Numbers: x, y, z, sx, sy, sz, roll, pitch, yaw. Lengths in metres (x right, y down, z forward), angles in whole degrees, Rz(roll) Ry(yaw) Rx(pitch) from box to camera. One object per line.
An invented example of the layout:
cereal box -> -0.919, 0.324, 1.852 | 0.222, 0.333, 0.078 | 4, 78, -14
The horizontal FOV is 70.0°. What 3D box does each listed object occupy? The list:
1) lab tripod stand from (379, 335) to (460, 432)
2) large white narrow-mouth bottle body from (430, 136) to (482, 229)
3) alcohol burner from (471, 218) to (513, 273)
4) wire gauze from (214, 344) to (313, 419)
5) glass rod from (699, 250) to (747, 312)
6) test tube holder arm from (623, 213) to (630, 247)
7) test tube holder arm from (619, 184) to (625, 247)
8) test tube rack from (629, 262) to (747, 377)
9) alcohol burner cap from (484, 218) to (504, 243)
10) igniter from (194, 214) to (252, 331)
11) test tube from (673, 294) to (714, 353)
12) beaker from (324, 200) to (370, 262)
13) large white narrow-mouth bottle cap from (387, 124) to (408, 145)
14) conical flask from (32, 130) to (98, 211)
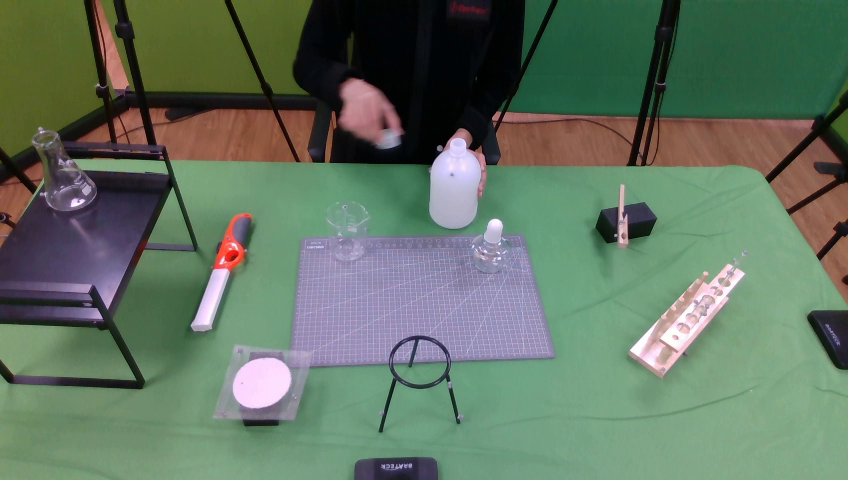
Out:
lab tripod stand -> -0.011, 0.214, 0.911 | 0.148, 0.132, 0.147 | 1, 45, 0
large white narrow-mouth bottle body -> 0.063, -0.119, 1.193 | 0.102, 0.195, 0.101 | 1, 48, -1
alcohol burner -> 0.128, 0.005, 1.132 | 0.078, 0.120, 0.077 | 0, 47, 0
wire gauze -> -0.241, 0.213, 0.916 | 0.121, 0.011, 0.124 | 5, 46, 1
glass rod -> 0.500, 0.075, 1.021 | 0.008, 0.201, 0.008 | 0, 55, 1
test tube holder arm -> 0.393, -0.020, 1.179 | 0.010, 0.015, 0.087 | 13, 46, 2
test tube holder arm -> 0.396, -0.053, 1.210 | 0.013, 0.015, 0.177 | 14, 46, 2
test tube rack -> 0.464, 0.126, 1.060 | 0.242, 0.085, 0.066 | -34, 56, -31
alcohol burner cap -> 0.130, -0.021, 1.106 | 0.034, 0.048, 0.033 | 3, 51, -4
igniter -> -0.367, 0.050, 1.119 | 0.057, 0.025, 0.275 | -4, 46, 7
test tube -> 0.428, 0.137, 0.978 | 0.017, 0.151, 0.017 | 4, 47, -4
beaker -> -0.143, -0.015, 1.142 | 0.084, 0.101, 0.073 | 1, 46, -4
large white narrow-mouth bottle cap -> -0.047, -0.186, 1.070 | 0.038, 0.024, 0.037 | 2, 46, -2
conical flask -> -0.565, -0.110, 0.944 | 0.075, 0.122, 0.075 | 2, 46, -2
